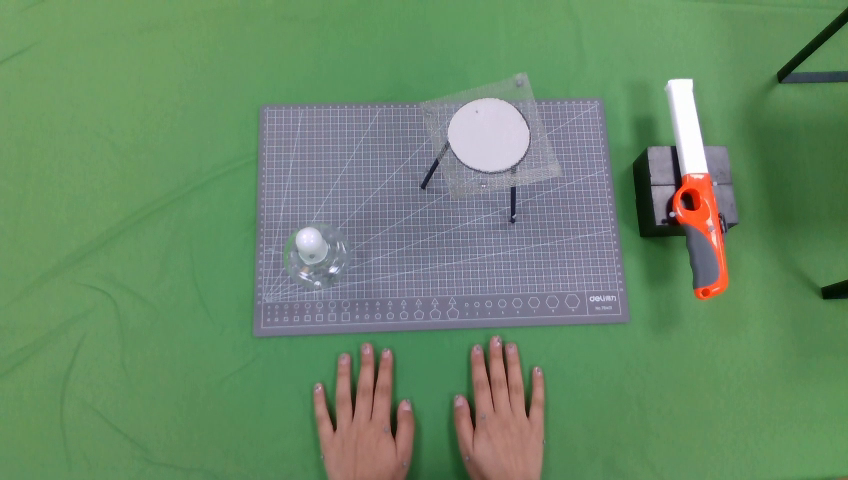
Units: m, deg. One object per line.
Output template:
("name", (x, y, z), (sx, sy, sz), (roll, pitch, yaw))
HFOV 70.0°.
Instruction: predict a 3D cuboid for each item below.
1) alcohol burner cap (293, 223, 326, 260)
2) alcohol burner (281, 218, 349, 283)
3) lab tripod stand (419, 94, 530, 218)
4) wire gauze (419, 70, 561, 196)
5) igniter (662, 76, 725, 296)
("alcohol burner cap", (-0.124, -0.001, 0.646), (0.034, 0.048, 0.033), (0, 71, -1))
("alcohol burner", (-0.124, 0.008, 0.682), (0.078, 0.119, 0.077), (1, 77, -3))
("lab tripod stand", (0.067, -0.104, 0.707), (0.148, 0.132, 0.147), (0, 74, -1))
("wire gauze", (0.069, -0.114, 0.641), (0.125, 0.011, 0.121), (-15, 77, -6))
("igniter", (0.318, -0.069, 0.719), (0.057, 0.025, 0.275), (-1, 73, 0))
